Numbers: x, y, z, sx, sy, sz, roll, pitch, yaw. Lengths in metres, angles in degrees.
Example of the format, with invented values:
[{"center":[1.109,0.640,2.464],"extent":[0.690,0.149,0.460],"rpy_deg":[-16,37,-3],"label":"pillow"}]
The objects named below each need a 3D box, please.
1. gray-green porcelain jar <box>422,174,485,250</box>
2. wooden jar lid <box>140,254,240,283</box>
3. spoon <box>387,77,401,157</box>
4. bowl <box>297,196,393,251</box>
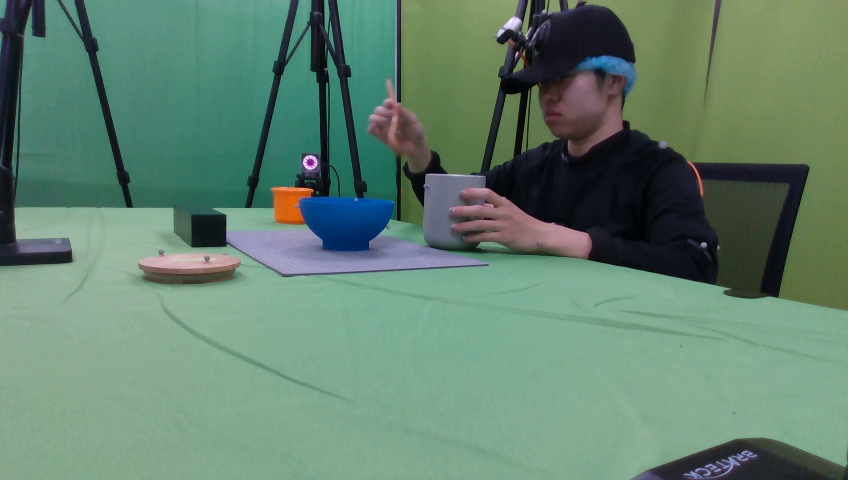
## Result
[{"center":[0.050,-0.049,1.040],"extent":[0.106,0.126,0.106],"rpy_deg":[2,8,0],"label":"gray-green porcelain jar"},{"center":[-0.269,0.032,0.698],"extent":[0.108,0.020,0.108],"rpy_deg":[2,5,0],"label":"wooden jar lid"},{"center":[-0.057,-0.237,1.147],"extent":[0.021,0.193,0.042],"rpy_deg":[-8,-31,8],"label":"spoon"},{"center":[-0.125,-0.026,0.958],"extent":[0.151,0.077,0.151],"rpy_deg":[2,7,0],"label":"bowl"}]
